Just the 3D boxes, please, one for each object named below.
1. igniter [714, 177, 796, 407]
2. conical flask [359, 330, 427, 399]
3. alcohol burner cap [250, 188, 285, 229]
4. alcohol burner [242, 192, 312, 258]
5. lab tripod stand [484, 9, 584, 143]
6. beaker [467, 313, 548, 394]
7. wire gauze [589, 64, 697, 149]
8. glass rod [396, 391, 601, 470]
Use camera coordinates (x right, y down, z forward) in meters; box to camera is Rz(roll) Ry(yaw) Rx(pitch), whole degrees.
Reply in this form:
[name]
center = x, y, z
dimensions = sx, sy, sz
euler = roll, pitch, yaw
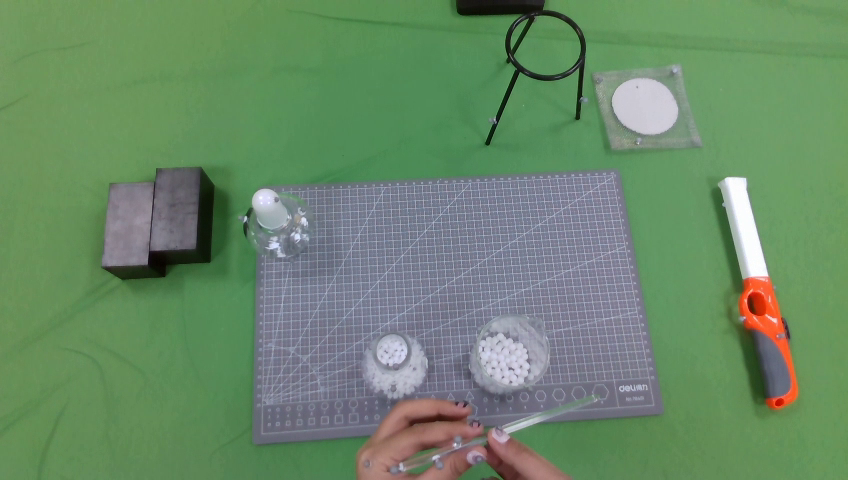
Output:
[igniter]
center = 0.388, 0.054, 0.713
dimensions = 0.057, 0.025, 0.274
euler = 0, 72, -14
[conical flask]
center = -0.033, 0.121, 0.622
dimensions = 0.075, 0.122, 0.075
euler = 1, 72, -1
[alcohol burner cap]
center = -0.166, -0.036, 0.634
dimensions = 0.034, 0.048, 0.033
euler = 2, 63, -3
[alcohol burner]
center = -0.166, -0.023, 0.668
dimensions = 0.078, 0.120, 0.077
euler = 0, 72, 0
[lab tripod stand]
center = 0.129, -0.194, 0.728
dimensions = 0.148, 0.132, 0.147
euler = 1, 74, -2
[beaker]
center = 0.086, 0.122, 0.639
dimensions = 0.073, 0.101, 0.084
euler = 42, 75, 11
[wire gauze]
center = 0.288, -0.174, 0.794
dimensions = 0.125, 0.011, 0.120
euler = -4, 72, -5
[glass rod]
center = 0.067, 0.146, 0.472
dimensions = 0.200, 0.008, 0.008
euler = -8, 70, -30
